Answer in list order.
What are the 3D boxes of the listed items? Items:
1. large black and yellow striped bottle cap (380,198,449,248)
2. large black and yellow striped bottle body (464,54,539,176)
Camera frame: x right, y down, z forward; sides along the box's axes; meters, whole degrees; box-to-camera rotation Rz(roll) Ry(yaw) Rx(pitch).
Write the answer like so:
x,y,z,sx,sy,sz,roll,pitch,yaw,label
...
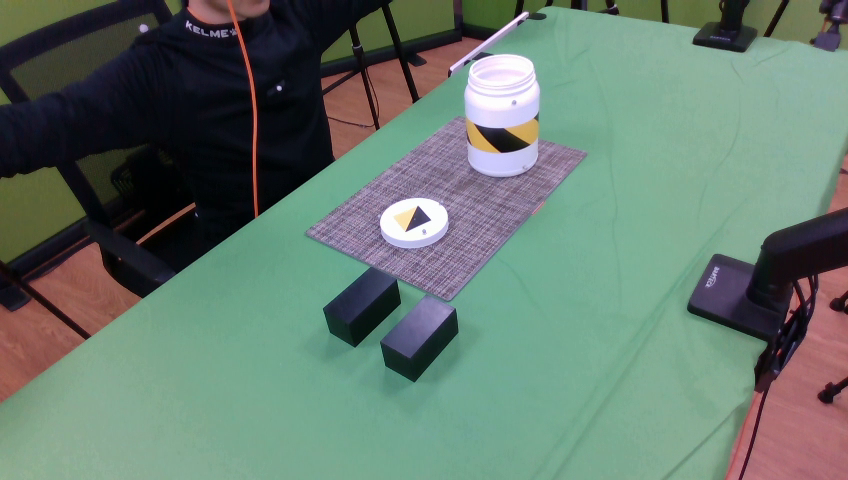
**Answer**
x,y,z,sx,sy,sz,roll,pitch,yaw,label
-0.016,-0.030,1.004,0.115,0.019,0.114,-5,40,4,large black and yellow striped bottle cap
0.139,-0.221,1.075,0.131,0.185,0.130,-4,41,4,large black and yellow striped bottle body
